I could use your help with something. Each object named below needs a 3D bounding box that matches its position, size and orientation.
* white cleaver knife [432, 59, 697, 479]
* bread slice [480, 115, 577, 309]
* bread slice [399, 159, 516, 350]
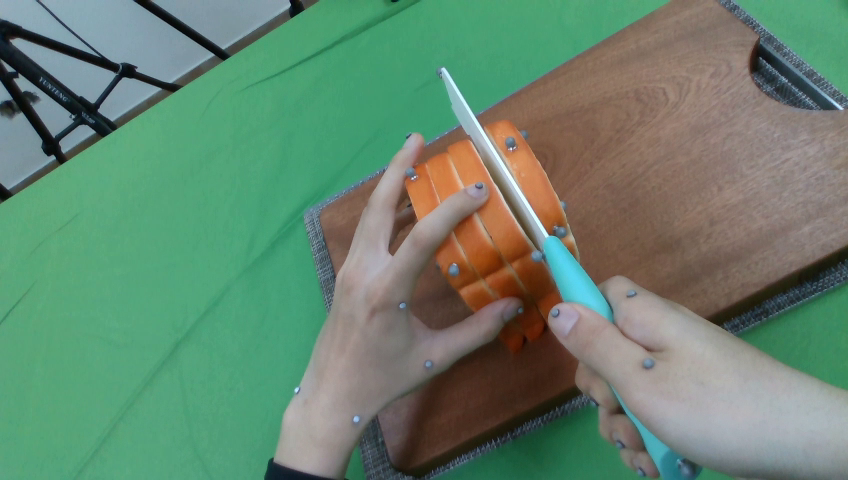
[{"bbox_3d":[0.069,-0.001,0.352,0.021,0.066,0.283,-28,61,4],"label":"white cleaver knife"},{"bbox_3d":[0.072,-0.020,0.403,0.019,0.133,0.103,-26,55,3],"label":"bread slice"},{"bbox_3d":[0.023,0.004,0.414,0.018,0.136,0.106,-28,51,9],"label":"bread slice"}]
